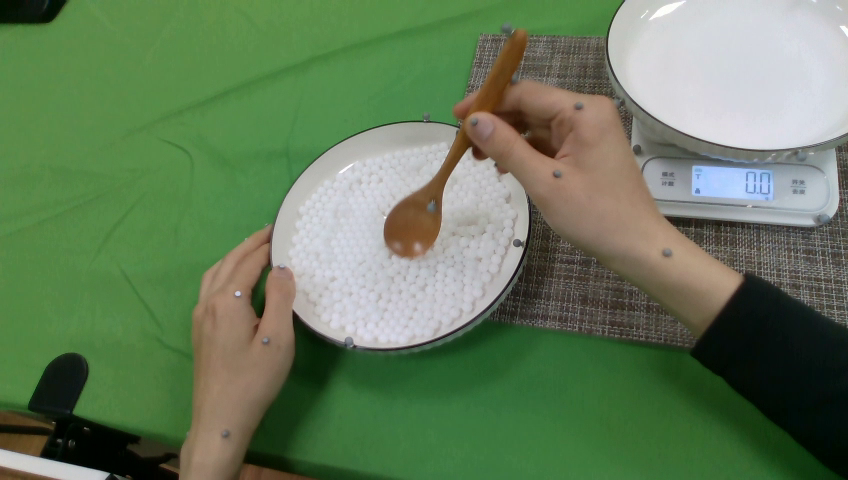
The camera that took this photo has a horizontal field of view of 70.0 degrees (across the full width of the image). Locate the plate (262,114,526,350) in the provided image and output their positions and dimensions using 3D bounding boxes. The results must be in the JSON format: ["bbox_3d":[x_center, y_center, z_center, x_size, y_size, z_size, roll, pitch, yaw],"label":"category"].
[{"bbox_3d":[-0.023,-0.008,0.481,0.209,0.038,0.207,-5,61,8],"label":"plate"}]

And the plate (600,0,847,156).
[{"bbox_3d":[0.244,-0.146,0.474,0.207,0.039,0.206,-4,61,8],"label":"plate"}]

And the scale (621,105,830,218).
[{"bbox_3d":[0.242,-0.112,0.493,0.148,0.032,0.199,5,63,13],"label":"scale"}]

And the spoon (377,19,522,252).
[{"bbox_3d":[0.015,-0.058,0.399,0.042,0.194,0.021,30,45,-3],"label":"spoon"}]
